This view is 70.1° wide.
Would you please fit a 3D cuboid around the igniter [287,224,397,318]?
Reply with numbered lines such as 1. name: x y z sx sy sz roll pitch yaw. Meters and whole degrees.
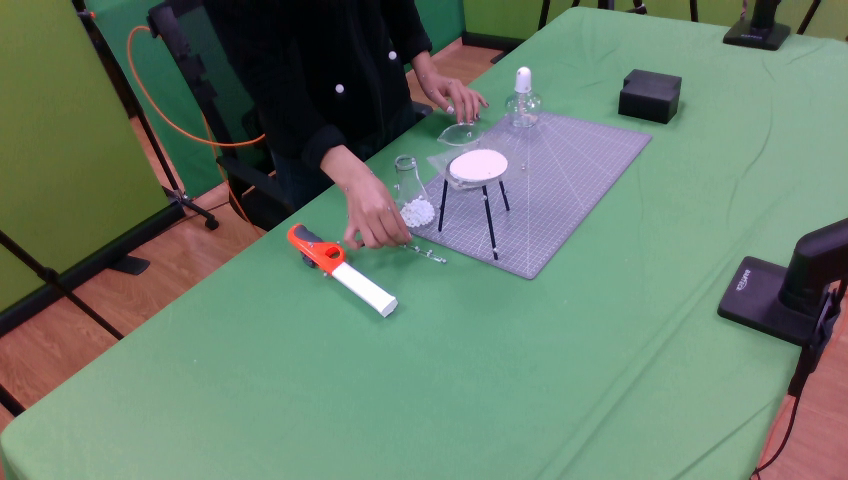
1. igniter: -0.139 0.042 0.958 0.057 0.025 0.274 -42 49 -19

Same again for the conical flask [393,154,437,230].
1. conical flask: -0.022 -0.082 1.003 0.075 0.122 0.075 -6 40 5

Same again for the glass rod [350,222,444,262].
1. glass rod: -0.048 0.001 1.003 0.198 0.008 0.008 21 49 31

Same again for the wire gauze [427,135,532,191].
1. wire gauze: 0.081 -0.115 0.909 0.125 0.011 0.120 -18 39 -11

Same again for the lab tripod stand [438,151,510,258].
1. lab tripod stand: 0.087 -0.064 0.952 0.148 0.132 0.147 -6 38 5

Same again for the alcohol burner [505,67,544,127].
1. alcohol burner: 0.201 -0.288 1.211 0.078 0.119 0.077 -6 38 5

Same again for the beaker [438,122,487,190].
1. beaker: 0.072 -0.147 1.080 0.084 0.101 0.073 -5 40 7

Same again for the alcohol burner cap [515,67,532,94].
1. alcohol burner cap: 0.197 -0.315 1.187 0.034 0.048 0.033 -3 47 3
